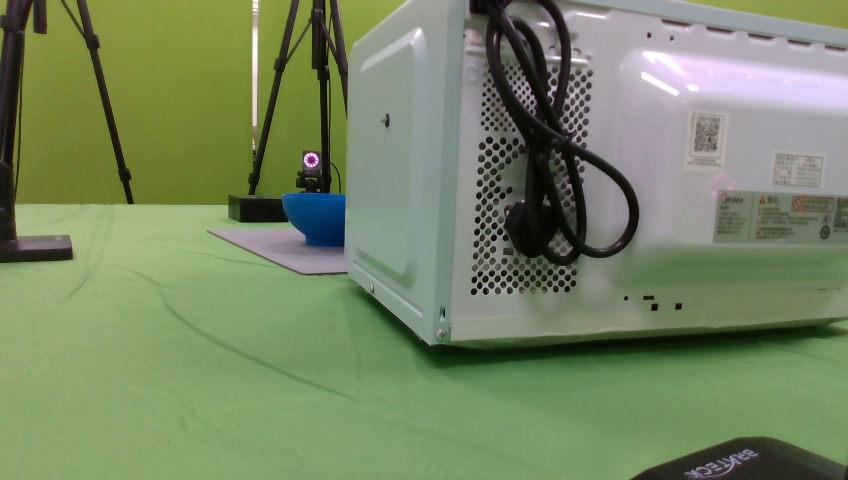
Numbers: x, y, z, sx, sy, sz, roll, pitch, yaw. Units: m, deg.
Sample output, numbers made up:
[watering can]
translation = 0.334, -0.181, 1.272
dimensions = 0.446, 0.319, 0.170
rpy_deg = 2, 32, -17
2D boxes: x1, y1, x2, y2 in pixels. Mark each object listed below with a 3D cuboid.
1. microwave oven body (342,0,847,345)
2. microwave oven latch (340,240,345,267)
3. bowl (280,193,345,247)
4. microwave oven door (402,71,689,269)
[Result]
[microwave oven body]
translation = 0.169, -0.060, 0.573
dimensions = 0.444, 0.260, 0.324
rpy_deg = 1, 7, -20
[microwave oven latch]
translation = -0.052, 0.016, 0.662
dimensions = 0.079, 0.029, 0.030
rpy_deg = 1, 7, -18
[bowl]
translation = -0.153, -0.032, 0.969
dimensions = 0.151, 0.077, 0.151
rpy_deg = 3, 7, 0
[microwave oven door]
translation = 0.153, -0.093, 0.795
dimensions = 0.356, 0.243, 0.039
rpy_deg = 3, 8, 4
